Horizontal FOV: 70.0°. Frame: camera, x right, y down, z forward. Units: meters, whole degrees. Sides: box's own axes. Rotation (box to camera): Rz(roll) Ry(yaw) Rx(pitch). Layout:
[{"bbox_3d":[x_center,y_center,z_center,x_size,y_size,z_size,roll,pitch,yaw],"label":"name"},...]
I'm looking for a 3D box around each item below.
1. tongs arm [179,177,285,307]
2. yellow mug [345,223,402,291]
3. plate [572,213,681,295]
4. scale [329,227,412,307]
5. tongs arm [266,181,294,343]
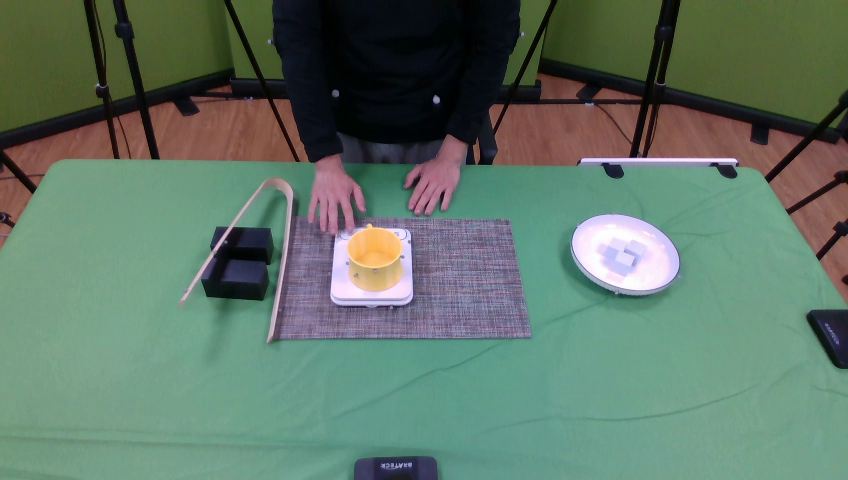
[{"bbox_3d":[-0.342,-0.008,1.118,0.051,0.026,0.382,29,38,-14],"label":"tongs arm"},{"bbox_3d":[-0.092,0.022,1.093,0.100,0.064,0.130,-7,46,-10],"label":"yellow mug"},{"bbox_3d":[0.392,0.030,1.189,0.208,0.039,0.206,2,46,-2],"label":"plate"},{"bbox_3d":[-0.099,0.042,1.139,0.149,0.032,0.199,1,46,-4],"label":"scale"},{"bbox_3d":[-0.273,0.027,1.144,0.028,0.028,0.385,17,42,-22],"label":"tongs arm"}]
